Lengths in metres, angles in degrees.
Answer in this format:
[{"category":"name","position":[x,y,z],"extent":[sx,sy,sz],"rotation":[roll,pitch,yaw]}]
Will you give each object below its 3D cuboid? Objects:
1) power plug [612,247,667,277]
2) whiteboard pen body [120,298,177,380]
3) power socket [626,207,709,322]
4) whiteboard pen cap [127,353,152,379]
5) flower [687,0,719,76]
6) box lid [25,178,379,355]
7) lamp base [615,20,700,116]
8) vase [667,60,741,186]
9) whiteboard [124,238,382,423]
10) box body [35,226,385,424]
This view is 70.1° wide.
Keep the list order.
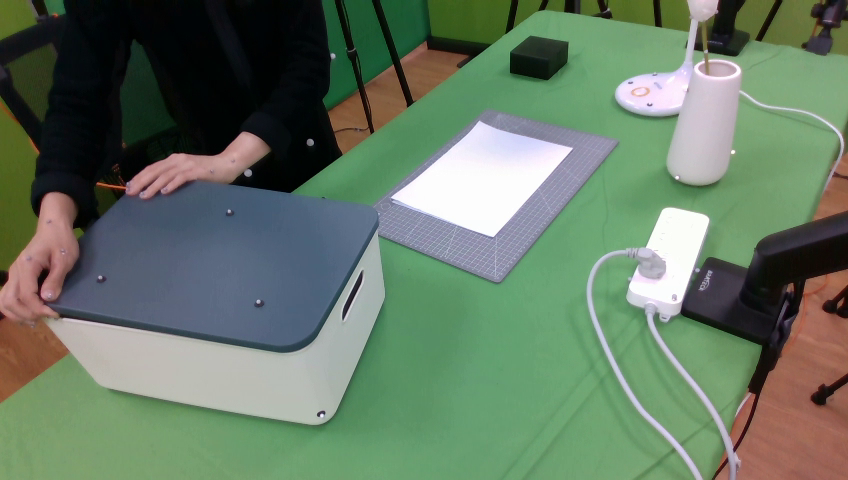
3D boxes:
[{"category":"power plug","position":[0.306,0.031,0.852],"extent":[0.072,0.053,0.035],"rotation":[21,48,38]},{"category":"whiteboard pen body","position":[-0.396,0.141,0.870],"extent":[0.017,0.017,0.140],"rotation":[6,47,15]},{"category":"power socket","position":[0.360,0.026,0.886],"extent":[0.072,0.033,0.227],"rotation":[17,46,27]},{"category":"whiteboard pen cap","position":[-0.385,0.171,0.820],"extent":[0.018,0.018,0.033],"rotation":[7,42,16]},{"category":"flower","position":[0.436,-0.242,0.934],"extent":[0.038,0.364,0.043],"rotation":[-23,49,9]},{"category":"box lid","position":[-0.260,0.015,0.751],"extent":[0.370,0.015,0.263],"rotation":[7,41,13]},{"category":"lamp base","position":[0.484,-0.364,1.211],"extent":[0.180,0.181,0.159],"rotation":[-15,41,-14]},{"category":"vase","position":[0.463,-0.189,0.994],"extent":[0.098,0.201,0.097],"rotation":[-4,40,3]},{"category":"whiteboard","position":[-0.242,0.094,0.810],"extent":[0.304,0.144,0.216],"rotation":[4,45,13]},{"category":"box body","position":[-0.254,0.081,0.807],"extent":[0.363,0.161,0.253],"rotation":[5,42,14]}]
